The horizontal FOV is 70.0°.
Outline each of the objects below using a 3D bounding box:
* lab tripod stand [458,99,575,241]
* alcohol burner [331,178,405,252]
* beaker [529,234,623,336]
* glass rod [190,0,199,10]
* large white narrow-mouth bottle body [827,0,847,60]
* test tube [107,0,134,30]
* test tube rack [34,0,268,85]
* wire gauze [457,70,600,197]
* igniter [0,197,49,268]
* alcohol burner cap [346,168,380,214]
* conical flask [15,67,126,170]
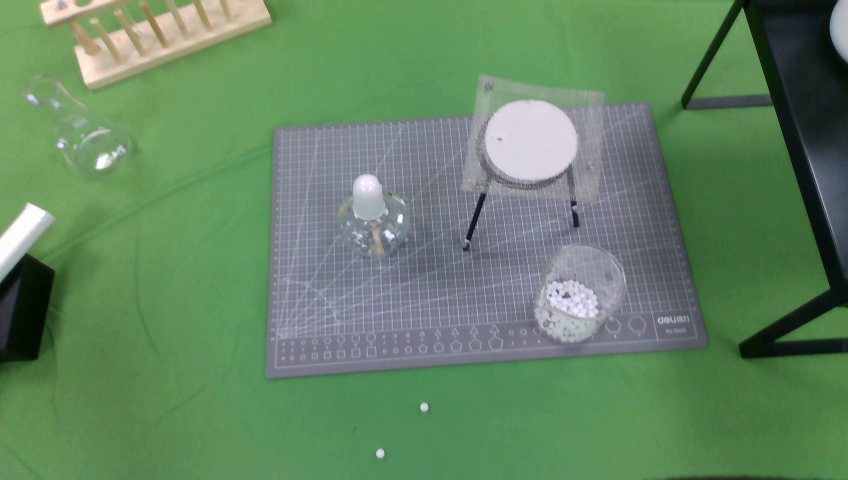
[{"bbox_3d":[0.094,-0.068,0.617,0.148,0.132,0.147,0,66,0],"label":"lab tripod stand"},{"bbox_3d":[-0.058,-0.034,0.617,0.078,0.120,0.077,0,65,0],"label":"alcohol burner"},{"bbox_3d":[0.139,0.050,0.586,0.084,0.101,0.073,-29,69,-9],"label":"beaker"},{"bbox_3d":[-0.301,-0.349,0.698,0.008,0.201,0.008,-2,59,3],"label":"glass rod"},{"bbox_3d":[0.399,-0.218,0.447,0.102,0.196,0.101,-1,67,3],"label":"large white narrow-mouth bottle body"},{"bbox_3d":[-0.372,-0.304,0.699,0.017,0.151,0.017,0,61,1],"label":"test tube"},{"bbox_3d":[-0.327,-0.284,0.744,0.242,0.086,0.066,-24,69,-8],"label":"test tube rack"},{"bbox_3d":[0.098,-0.099,0.557,0.121,0.011,0.124,9,69,3],"label":"wire gauze"},{"bbox_3d":[-0.468,0.074,0.581,0.057,0.025,0.275,23,69,20],"label":"igniter"},{"bbox_3d":[-0.059,-0.050,0.585,0.034,0.048,0.033,2,60,-3],"label":"alcohol burner cap"},{"bbox_3d":[-0.391,-0.136,0.665,0.075,0.123,0.075,-1,67,2],"label":"conical flask"}]
